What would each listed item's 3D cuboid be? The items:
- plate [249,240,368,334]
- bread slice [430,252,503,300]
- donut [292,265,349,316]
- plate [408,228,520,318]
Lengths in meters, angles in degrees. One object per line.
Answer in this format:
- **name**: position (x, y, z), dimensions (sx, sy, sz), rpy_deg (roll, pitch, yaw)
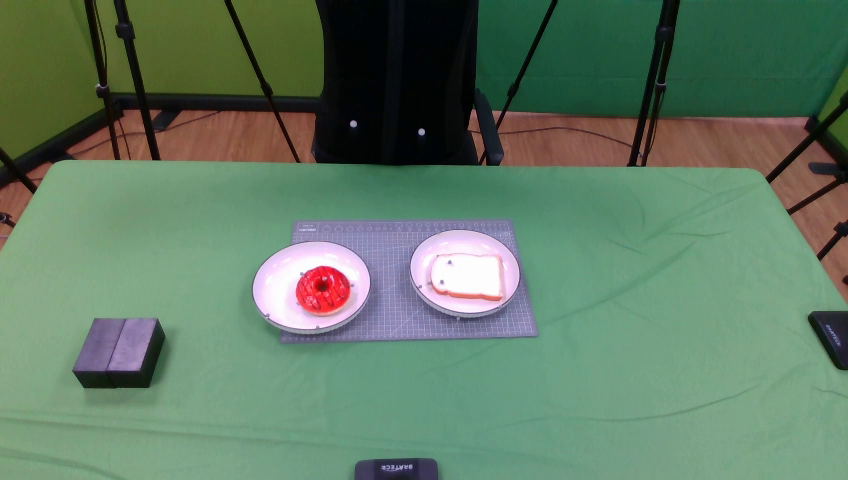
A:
- **plate**: position (-0.204, 0.086, 1.084), dimensions (0.208, 0.039, 0.206), rpy_deg (2, 46, -2)
- **bread slice**: position (0.078, 0.067, 1.125), dimensions (0.134, 0.018, 0.106), rpy_deg (1, 45, -3)
- **donut**: position (-0.182, 0.089, 1.067), dimensions (0.099, 0.048, 0.098), rpy_deg (3, 50, -4)
- **plate**: position (0.074, 0.063, 1.128), dimensions (0.209, 0.038, 0.208), rpy_deg (2, 46, -2)
